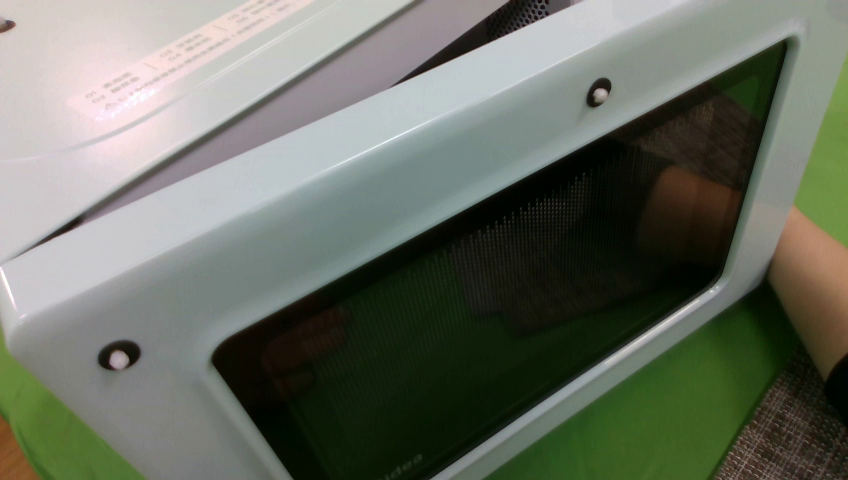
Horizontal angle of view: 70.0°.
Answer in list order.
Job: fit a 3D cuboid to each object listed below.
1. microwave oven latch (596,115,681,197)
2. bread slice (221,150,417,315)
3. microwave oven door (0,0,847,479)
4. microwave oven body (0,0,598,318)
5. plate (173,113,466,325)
[{"bbox_3d":[0.176,-0.069,0.498,0.079,0.030,0.030,-34,49,-21],"label":"microwave oven latch"},{"bbox_3d":[-0.074,-0.018,0.442,0.131,0.019,0.104,-39,52,-19],"label":"bread slice"},{"bbox_3d":[0.055,0.019,0.288,0.356,0.246,0.039,-29,46,-17],"label":"microwave oven door"},{"bbox_3d":[-0.062,-0.081,0.421,0.323,0.263,0.441,27,56,32],"label":"microwave oven body"},{"bbox_3d":[-0.071,-0.019,0.436,0.209,0.038,0.207,-6,44,7],"label":"plate"}]
